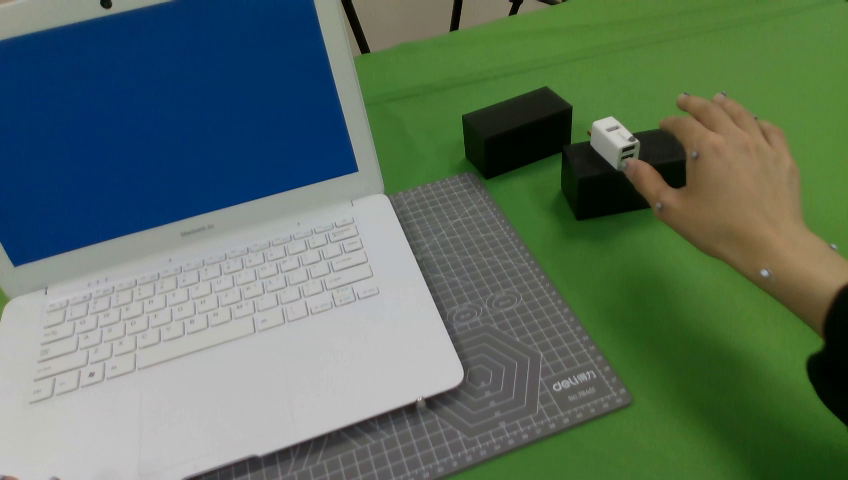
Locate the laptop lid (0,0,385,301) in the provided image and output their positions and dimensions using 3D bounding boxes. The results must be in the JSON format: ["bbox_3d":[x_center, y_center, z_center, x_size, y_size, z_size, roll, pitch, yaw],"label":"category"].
[{"bbox_3d":[-0.226,-0.092,0.517,0.357,0.244,0.013,-18,29,-8],"label":"laptop lid"}]

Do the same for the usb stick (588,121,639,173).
[{"bbox_3d":[0.164,-0.086,0.536,0.021,0.027,0.058,-19,40,-8],"label":"usb stick"}]

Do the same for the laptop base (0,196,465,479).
[{"bbox_3d":[-0.168,0.083,0.488,0.355,0.023,0.232,-17,46,-9],"label":"laptop base"}]
